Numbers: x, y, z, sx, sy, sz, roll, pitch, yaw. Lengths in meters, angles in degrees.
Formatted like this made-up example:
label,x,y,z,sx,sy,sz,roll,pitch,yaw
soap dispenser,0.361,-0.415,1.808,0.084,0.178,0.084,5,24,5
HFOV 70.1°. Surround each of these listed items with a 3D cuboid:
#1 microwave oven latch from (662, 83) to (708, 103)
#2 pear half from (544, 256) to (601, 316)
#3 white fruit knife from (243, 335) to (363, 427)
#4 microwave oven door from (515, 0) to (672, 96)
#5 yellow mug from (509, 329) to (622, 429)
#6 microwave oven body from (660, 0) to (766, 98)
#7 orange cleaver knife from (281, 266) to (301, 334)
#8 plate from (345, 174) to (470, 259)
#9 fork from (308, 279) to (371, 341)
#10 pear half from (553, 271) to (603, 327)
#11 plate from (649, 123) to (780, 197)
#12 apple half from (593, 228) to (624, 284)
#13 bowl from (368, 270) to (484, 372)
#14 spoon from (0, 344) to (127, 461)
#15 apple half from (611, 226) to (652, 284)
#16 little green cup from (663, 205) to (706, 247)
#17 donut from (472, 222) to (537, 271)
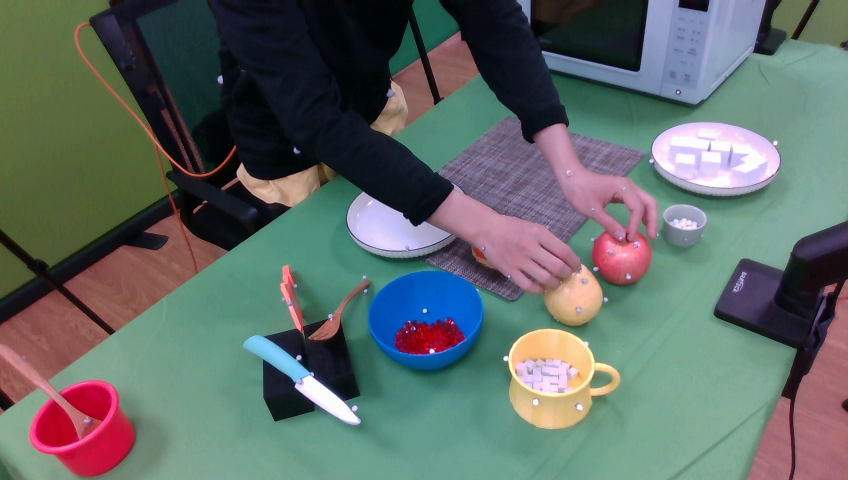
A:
label,x,y,z,sx,sy,sz,roll,pitch,yaw
microwave oven latch,0.518,-0.296,1.204,0.078,0.029,0.030,28,52,35
pear half,0.196,0.054,0.811,0.076,0.110,0.055,-15,42,-12
white fruit knife,-0.147,0.167,0.729,0.206,0.016,0.027,27,80,31
microwave oven door,0.343,-0.454,1.259,0.353,0.245,0.039,26,51,33
yellow mug,0.168,0.164,0.721,0.130,0.064,0.099,1,40,8
microwave oven body,0.472,-0.513,1.317,0.438,0.261,0.327,26,51,34
orange cleaver knife,-0.188,0.081,0.862,0.012,0.077,0.210,-19,12,-9
plate,-0.026,-0.036,1.004,0.209,0.038,0.208,-4,40,4
fork,-0.109,0.093,0.832,0.028,0.018,0.207,-3,20,15
pear half,0.208,0.083,0.791,0.071,0.088,0.031,-15,39,-15
plate,0.497,-0.134,1.046,0.207,0.039,0.206,-4,40,4
apple half,0.258,0.027,0.864,0.033,0.081,0.081,-6,40,0
bowl,0.006,0.118,0.792,0.151,0.077,0.150,-5,40,4
spoon,-0.433,0.191,0.720,0.194,0.021,0.042,47,52,-6
apple half,0.297,0.021,0.864,0.053,0.075,0.080,-6,38,1
little green cup,0.396,-0.020,0.926,0.061,0.039,0.061,-4,40,4
donut,0.123,0.008,0.923,0.099,0.048,0.098,-3,37,3
